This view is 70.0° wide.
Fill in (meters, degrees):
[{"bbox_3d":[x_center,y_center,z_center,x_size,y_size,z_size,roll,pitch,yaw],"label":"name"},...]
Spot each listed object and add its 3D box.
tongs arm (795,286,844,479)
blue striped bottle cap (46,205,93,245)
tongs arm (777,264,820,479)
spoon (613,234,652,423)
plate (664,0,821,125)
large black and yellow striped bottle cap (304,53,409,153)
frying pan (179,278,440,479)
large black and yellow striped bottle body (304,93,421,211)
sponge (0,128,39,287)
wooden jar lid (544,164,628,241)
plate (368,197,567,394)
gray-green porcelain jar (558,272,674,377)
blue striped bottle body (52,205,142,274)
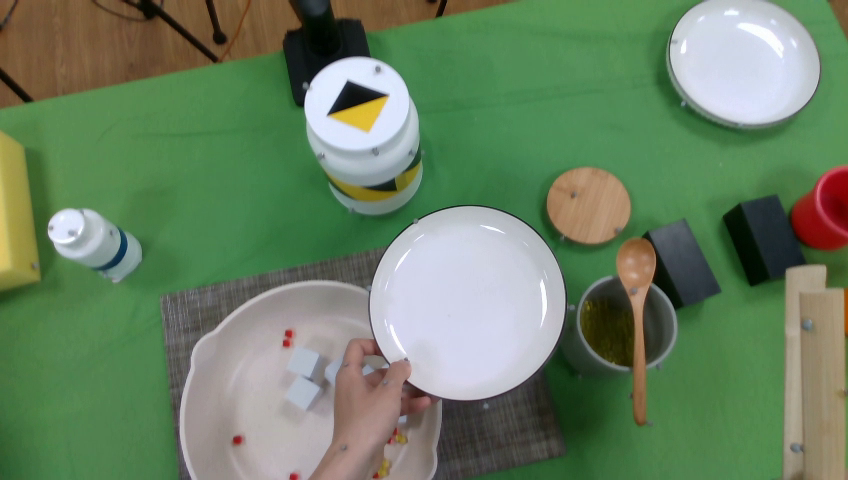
[{"bbox_3d":[0.286,0.205,0.447,0.026,0.050,0.386,-8,106,13],"label":"tongs arm"},{"bbox_3d":[-0.407,-0.018,0.695,0.044,0.021,0.044,0,75,1],"label":"blue striped bottle cap"},{"bbox_3d":[0.290,0.196,0.467,0.028,0.028,0.390,-9,110,10],"label":"tongs arm"},{"bbox_3d":[0.218,0.090,0.629,0.042,0.022,0.193,4,77,-4],"label":"spoon"},{"bbox_3d":[0.436,-0.250,0.843,0.209,0.038,0.208,0,73,2],"label":"plate"},{"bbox_3d":[-0.073,-0.151,0.661,0.115,0.019,0.114,0,75,1],"label":"large black and yellow striped bottle cap"},{"bbox_3d":[-0.176,0.274,0.663,0.306,0.103,0.486,27,68,10],"label":"frying pan"},{"bbox_3d":[-0.072,-0.125,0.742,0.131,0.185,0.130,0,73,1],"label":"large black and yellow striped bottle body"},{"bbox_3d":[-0.590,-0.038,0.789,0.118,0.061,0.205,-17,75,-4],"label":"sponge"},{"bbox_3d":[0.213,-0.048,0.799,0.108,0.021,0.108,0,75,1],"label":"wooden jar lid"},{"bbox_3d":[0.045,0.058,0.643,0.207,0.039,0.206,-3,74,9],"label":"plate"},{"bbox_3d":[0.213,0.102,0.699,0.106,0.127,0.105,0,73,1],"label":"gray-green porcelain jar"},{"bbox_3d":[-0.405,-0.002,0.744,0.063,0.121,0.062,0,73,1],"label":"blue striped bottle body"}]
